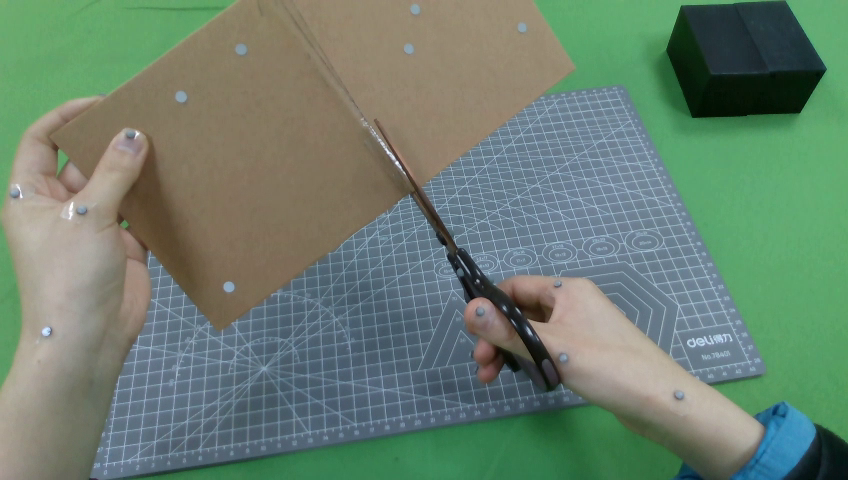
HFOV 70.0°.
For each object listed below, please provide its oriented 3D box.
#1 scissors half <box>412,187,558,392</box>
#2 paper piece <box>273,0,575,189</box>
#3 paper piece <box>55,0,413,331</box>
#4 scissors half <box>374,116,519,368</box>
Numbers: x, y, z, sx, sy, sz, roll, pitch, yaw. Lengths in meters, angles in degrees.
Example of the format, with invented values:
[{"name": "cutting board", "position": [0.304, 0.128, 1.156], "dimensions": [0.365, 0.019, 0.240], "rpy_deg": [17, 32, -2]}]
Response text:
[{"name": "scissors half", "position": [0.018, 0.004, 0.329], "dimensions": [0.013, 0.040, 0.174], "rpy_deg": [-32, 72, -9]}, {"name": "paper piece", "position": [0.005, -0.121, 0.344], "dimensions": [0.135, 0.004, 0.136], "rpy_deg": [-38, 99, -15]}, {"name": "paper piece", "position": [-0.101, -0.042, 0.329], "dimensions": [0.138, 0.008, 0.136], "rpy_deg": [-35, 96, 1]}, {"name": "scissors half", "position": [0.016, 0.005, 0.353], "dimensions": [0.013, 0.176, 0.039], "rpy_deg": [-32, 22, -4]}]
